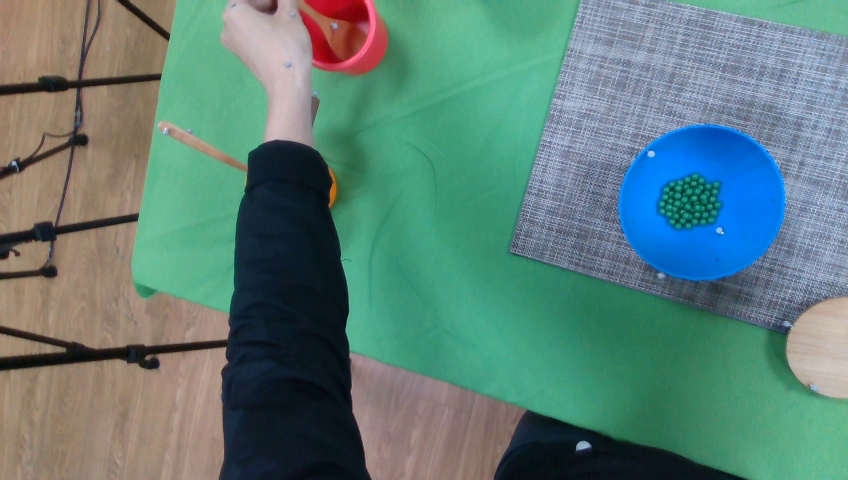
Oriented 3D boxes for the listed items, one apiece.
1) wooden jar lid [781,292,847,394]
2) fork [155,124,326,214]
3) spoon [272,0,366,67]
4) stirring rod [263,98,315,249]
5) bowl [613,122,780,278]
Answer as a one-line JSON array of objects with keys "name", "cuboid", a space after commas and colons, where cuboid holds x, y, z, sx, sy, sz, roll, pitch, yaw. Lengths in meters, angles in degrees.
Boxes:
[{"name": "wooden jar lid", "cuboid": [0.429, 0.105, 0.627, 0.108, 0.020, 0.108, 3, 102, 15]}, {"name": "fork", "cuboid": [-0.203, -0.079, 0.690, 0.209, 0.018, 0.028, 25, 115, -35]}, {"name": "spoon", "cuboid": [-0.136, -0.245, 0.647, 0.021, 0.195, 0.041, 40, 100, 41]}, {"name": "stirring rod", "cuboid": [-0.152, -0.073, 0.678, 0.014, 0.006, 0.176, 20, 100, 8]}, {"name": "bowl", "cuboid": [0.268, -0.041, 0.619, 0.151, 0.077, 0.151, 1, 95, 13]}]
